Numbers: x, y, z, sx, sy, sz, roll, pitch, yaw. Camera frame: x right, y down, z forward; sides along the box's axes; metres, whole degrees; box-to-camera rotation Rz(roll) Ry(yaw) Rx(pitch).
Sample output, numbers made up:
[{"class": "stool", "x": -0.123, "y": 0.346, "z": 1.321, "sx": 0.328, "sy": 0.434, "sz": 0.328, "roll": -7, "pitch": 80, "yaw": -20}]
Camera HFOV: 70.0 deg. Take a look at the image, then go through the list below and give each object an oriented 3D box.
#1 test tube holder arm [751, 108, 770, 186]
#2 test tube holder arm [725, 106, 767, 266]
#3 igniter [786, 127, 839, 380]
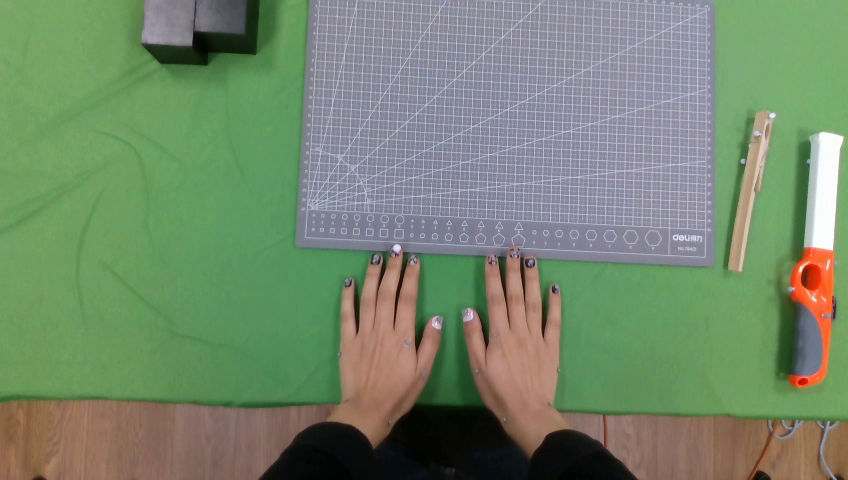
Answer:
[{"class": "test tube holder arm", "x": 0.366, "y": -0.102, "z": 0.668, "sx": 0.010, "sy": 0.015, "sz": 0.087, "roll": 17, "pitch": 84, "yaw": -35}, {"class": "test tube holder arm", "x": 0.351, "y": -0.059, "z": 0.661, "sx": 0.013, "sy": 0.015, "sz": 0.178, "roll": 16, "pitch": 85, "yaw": -35}, {"class": "igniter", "x": 0.422, "y": 0.014, "z": 0.656, "sx": 0.057, "sy": 0.025, "sz": 0.276, "roll": 9, "pitch": 85, "yaw": -12}]
